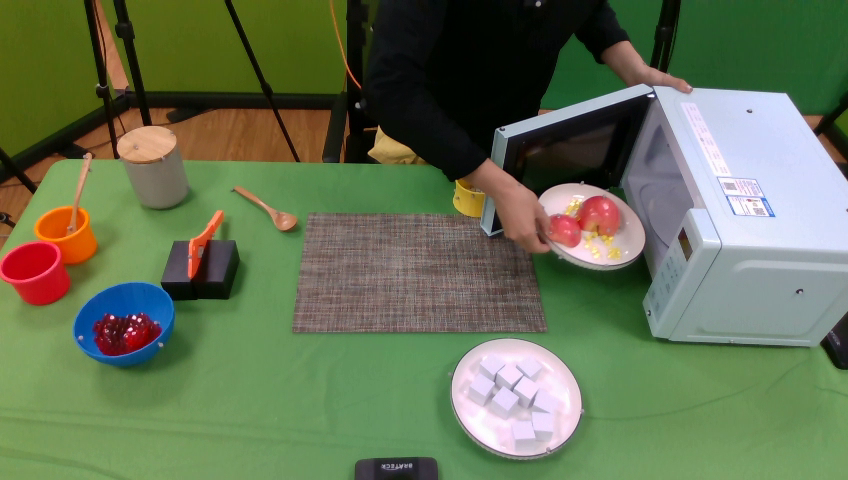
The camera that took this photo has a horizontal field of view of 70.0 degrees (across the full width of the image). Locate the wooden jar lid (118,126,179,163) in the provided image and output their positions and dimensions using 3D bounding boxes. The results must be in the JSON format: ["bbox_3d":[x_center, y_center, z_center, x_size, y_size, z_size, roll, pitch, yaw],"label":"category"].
[{"bbox_3d":[-0.528,-0.181,1.167,0.108,0.021,0.107,4,47,-4],"label":"wooden jar lid"}]

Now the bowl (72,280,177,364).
[{"bbox_3d":[-0.473,0.146,0.982,0.151,0.077,0.150,2,46,-2],"label":"bowl"}]

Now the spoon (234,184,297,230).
[{"bbox_3d":[-0.328,-0.073,1.239,0.193,0.022,0.041,34,70,25],"label":"spoon"}]

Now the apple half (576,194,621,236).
[{"bbox_3d":[0.327,-0.053,1.116,0.081,0.053,0.074,22,45,7],"label":"apple half"}]

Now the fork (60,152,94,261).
[{"bbox_3d":[-0.638,-0.063,1.120,0.028,0.018,0.207,12,90,6],"label":"fork"}]

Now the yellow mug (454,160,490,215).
[{"bbox_3d":[0.117,-0.120,1.284,0.100,0.064,0.130,8,45,4],"label":"yellow mug"}]

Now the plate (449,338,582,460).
[{"bbox_3d":[0.141,0.251,0.956,0.208,0.039,0.206,2,46,-2],"label":"plate"}]

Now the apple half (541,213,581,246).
[{"bbox_3d":[0.253,-0.028,1.091,0.081,0.033,0.081,12,43,-11],"label":"apple half"}]

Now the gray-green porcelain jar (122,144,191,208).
[{"bbox_3d":[-0.531,-0.137,1.214,0.106,0.127,0.105,2,47,-2],"label":"gray-green porcelain jar"}]

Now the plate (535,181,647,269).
[{"bbox_3d":[0.300,-0.025,1.105,0.209,0.038,0.208,6,47,-7],"label":"plate"}]

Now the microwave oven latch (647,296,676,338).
[{"bbox_3d":[0.413,0.133,1.060,0.030,0.029,0.078,4,46,1],"label":"microwave oven latch"}]

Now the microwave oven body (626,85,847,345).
[{"bbox_3d":[0.569,-0.054,1.116,0.326,0.261,0.439,2,46,-1],"label":"microwave oven body"}]

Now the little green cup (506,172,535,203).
[{"bbox_3d":[0.205,-0.111,1.302,0.061,0.039,0.061,2,47,-2],"label":"little green cup"}]

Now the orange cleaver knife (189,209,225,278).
[{"bbox_3d":[-0.401,0.002,1.122,0.012,0.077,0.210,4,23,-4],"label":"orange cleaver knife"}]

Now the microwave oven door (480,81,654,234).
[{"bbox_3d":[0.281,-0.163,1.192,0.356,0.245,0.039,-21,51,-22],"label":"microwave oven door"}]
